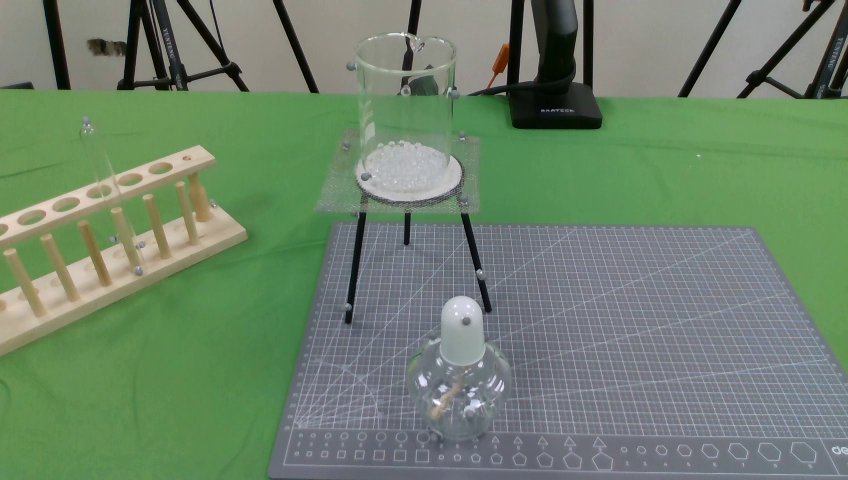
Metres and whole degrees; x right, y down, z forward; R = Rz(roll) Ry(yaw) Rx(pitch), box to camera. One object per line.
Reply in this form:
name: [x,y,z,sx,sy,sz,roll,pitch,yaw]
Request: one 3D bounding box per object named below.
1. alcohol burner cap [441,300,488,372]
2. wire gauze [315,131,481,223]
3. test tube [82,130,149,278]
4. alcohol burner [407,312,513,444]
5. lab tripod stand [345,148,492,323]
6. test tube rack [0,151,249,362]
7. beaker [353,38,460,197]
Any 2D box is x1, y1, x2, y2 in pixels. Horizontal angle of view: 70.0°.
alcohol burner cap: [0.027,0.061,0.406,0.034,0.048,0.033,-2,38,2]
wire gauze: [-0.015,-0.052,0.485,0.121,0.011,0.124,3,41,3]
test tube: [-0.269,-0.027,0.532,0.017,0.151,0.017,1,37,0]
alcohol burner: [0.026,0.090,0.428,0.078,0.120,0.077,0,40,0]
lab tripod stand: [-0.006,-0.002,0.528,0.148,0.132,0.147,1,38,-1]
test tube rack: [-0.294,0.007,0.561,0.242,0.086,0.066,-30,47,-32]
beaker: [-0.013,-0.092,0.456,0.074,0.101,0.083,8,39,7]
